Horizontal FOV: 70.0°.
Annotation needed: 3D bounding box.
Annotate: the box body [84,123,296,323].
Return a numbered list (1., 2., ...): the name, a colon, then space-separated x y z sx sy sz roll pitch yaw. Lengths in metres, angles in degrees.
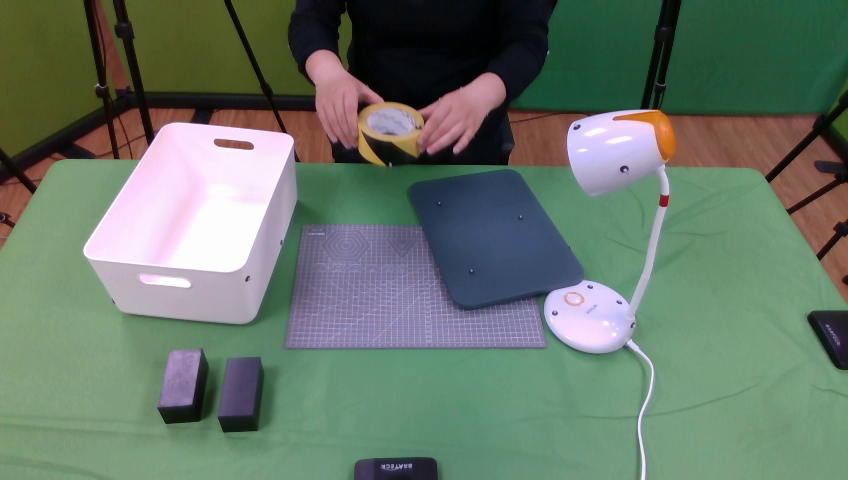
1. box body: -0.393 -0.036 1.104 0.254 0.161 0.362 5 46 1

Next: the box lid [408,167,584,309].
1. box lid: 0.133 -0.018 1.223 0.263 0.015 0.369 -11 45 -12

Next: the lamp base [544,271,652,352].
1. lamp base: 0.309 0.086 1.029 0.178 0.181 0.160 32 52 21

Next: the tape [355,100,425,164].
1. tape: -0.058 -0.181 1.008 0.117 0.053 0.116 3 46 -3

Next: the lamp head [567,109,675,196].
1. lamp head: 0.272 -0.123 0.818 0.122 0.113 0.112 -9 35 37
